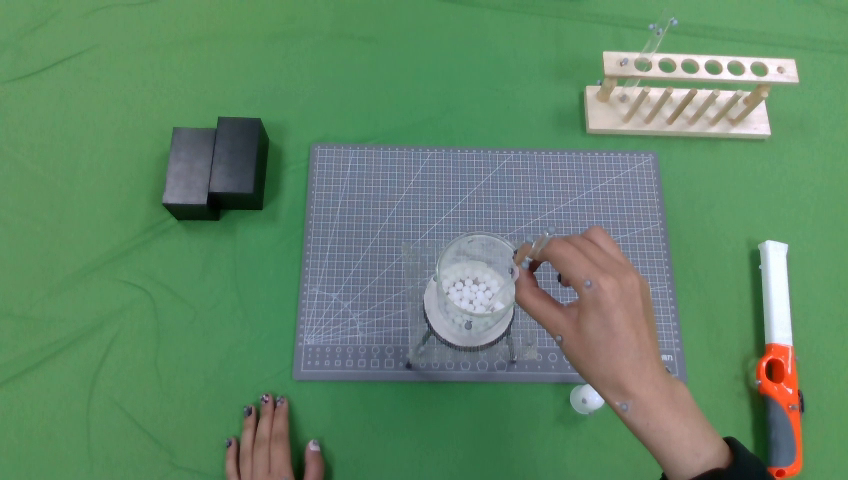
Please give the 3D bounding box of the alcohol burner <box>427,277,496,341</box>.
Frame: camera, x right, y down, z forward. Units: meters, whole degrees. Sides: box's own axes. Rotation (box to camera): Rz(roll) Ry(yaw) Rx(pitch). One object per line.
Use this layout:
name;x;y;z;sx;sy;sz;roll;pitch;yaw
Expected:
alcohol burner;0.042;0.073;0.657;0.078;0.120;0.077;2;69;-4

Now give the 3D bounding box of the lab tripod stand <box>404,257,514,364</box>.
lab tripod stand;0.037;0.077;0.645;0.148;0.132;0.147;0;70;-1

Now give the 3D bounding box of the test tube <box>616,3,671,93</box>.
test tube;0.263;-0.227;0.735;0.017;0.151;0.017;1;68;-1

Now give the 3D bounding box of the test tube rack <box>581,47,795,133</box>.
test tube rack;0.334;-0.191;0.778;0.242;0.085;0.066;1;71;-2

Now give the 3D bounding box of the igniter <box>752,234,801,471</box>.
igniter;0.407;0.125;0.705;0.057;0.025;0.275;11;71;-10

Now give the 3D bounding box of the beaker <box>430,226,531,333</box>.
beaker;0.045;0.040;0.537;0.084;0.101;0.073;-4;70;-4

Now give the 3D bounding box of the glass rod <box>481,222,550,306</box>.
glass rod;0.067;0.025;0.482;0.008;0.200;0.008;2;69;-6

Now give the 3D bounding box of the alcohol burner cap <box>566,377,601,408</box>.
alcohol burner cap;0.180;0.168;0.673;0.034;0.048;0.033;1;70;-1

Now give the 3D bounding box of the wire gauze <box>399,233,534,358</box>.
wire gauze;0.040;0.052;0.584;0.125;0.011;0.120;-2;69;-1
